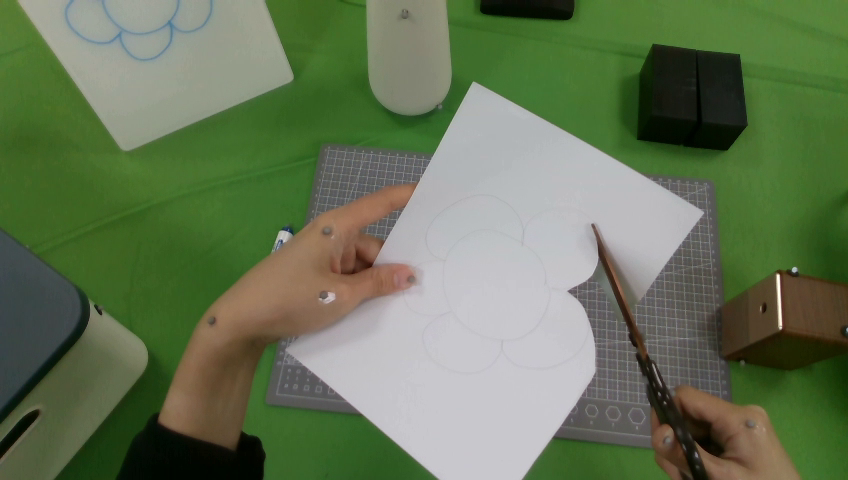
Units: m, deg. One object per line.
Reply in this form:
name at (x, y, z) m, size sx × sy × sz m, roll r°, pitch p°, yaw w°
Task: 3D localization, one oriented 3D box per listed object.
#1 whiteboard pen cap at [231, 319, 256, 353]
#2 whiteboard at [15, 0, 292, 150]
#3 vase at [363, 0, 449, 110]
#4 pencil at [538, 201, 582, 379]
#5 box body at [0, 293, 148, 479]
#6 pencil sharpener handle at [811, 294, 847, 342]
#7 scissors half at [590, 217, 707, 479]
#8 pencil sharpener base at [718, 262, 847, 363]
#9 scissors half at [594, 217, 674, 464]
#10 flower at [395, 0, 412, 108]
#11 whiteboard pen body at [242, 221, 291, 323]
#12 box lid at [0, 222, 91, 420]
whiteboard pen cap at (-0.178, 0.095, 0.604) m, size 0.018 × 0.018 × 0.033 m, roll 11°, pitch 63°, yaw 5°
whiteboard at (-0.310, -0.293, 0.648) m, size 0.217 × 0.308 × 0.142 m, roll -27°, pitch 50°, yaw -10°
vase at (-0.021, -0.230, 0.647) m, size 0.098 × 0.201 × 0.097 m, roll 0°, pitch 65°, yaw 1°
pencil at (0.142, 0.048, 0.630) m, size 0.012 × 0.012 × 0.192 m, roll -7°, pitch 69°, yaw -3°
box body at (-0.470, 0.082, 0.533) m, size 0.362 × 0.161 × 0.253 m, roll 31°, pitch 71°, yaw 12°
pencil sharpener handle at (0.388, 0.077, 0.557) m, size 0.030 × 0.068 × 0.035 m, roll 10°, pitch 61°, yaw 1°
scissors half at (0.131, 0.068, 0.356) m, size 0.013 × 0.040 × 0.175 m, roll -21°, pitch 85°, yaw 6°
pencil sharpener base at (0.338, 0.071, 0.569) m, size 0.077 × 0.107 × 0.061 m, roll 10°, pitch 67°, yaw 1°
scissors half at (0.134, 0.065, 0.377) m, size 0.013 × 0.040 × 0.176 m, roll -20°, pitch 107°, yaw 11°
flower at (-0.027, -0.276, 0.576) m, size 0.044 × 0.365 × 0.038 m, roll -1°, pitch 49°, yaw 3°
whiteboard pen body at (-0.166, 0.043, 0.628) m, size 0.017 × 0.017 × 0.140 m, roll 12°, pitch 66°, yaw 6°
box lid at (-0.472, 0.052, 0.465) m, size 0.370 × 0.015 × 0.262 m, roll 31°, pitch 70°, yaw 12°
